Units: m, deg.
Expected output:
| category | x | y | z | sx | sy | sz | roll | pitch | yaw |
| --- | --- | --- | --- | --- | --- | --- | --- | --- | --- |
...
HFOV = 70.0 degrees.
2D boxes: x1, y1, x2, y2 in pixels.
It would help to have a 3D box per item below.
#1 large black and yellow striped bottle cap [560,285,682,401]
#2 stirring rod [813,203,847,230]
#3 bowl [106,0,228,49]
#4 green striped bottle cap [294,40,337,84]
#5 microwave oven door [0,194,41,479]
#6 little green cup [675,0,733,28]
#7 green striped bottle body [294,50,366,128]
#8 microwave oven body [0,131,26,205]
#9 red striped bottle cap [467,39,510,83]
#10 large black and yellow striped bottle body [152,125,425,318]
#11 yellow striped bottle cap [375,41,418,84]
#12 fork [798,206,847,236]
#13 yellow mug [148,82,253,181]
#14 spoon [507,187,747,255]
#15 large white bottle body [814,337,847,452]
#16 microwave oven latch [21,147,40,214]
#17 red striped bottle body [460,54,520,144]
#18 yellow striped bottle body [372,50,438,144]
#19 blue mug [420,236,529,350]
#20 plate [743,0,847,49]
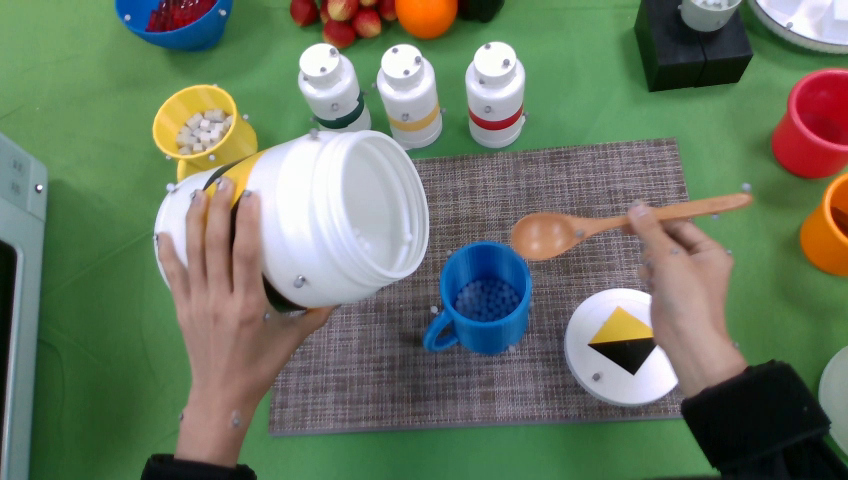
| category | x | y | z | sx | sy | sz | roll | pitch | yaw |
| --- | --- | --- | --- | --- | --- | --- | --- | --- | --- |
| large black and yellow striped bottle cap | 0.193 | 0.099 | 0.596 | 0.115 | 0.019 | 0.114 | -2 | 66 | 6 |
| stirring rod | 0.406 | 0.000 | 0.550 | 0.014 | 0.006 | 0.175 | -1 | 24 | 3 |
| bowl | -0.318 | -0.305 | 0.791 | 0.151 | 0.077 | 0.150 | -2 | 68 | 6 |
| green striped bottle cap | -0.115 | -0.188 | 0.640 | 0.044 | 0.020 | 0.044 | -2 | 68 | 4 |
| microwave oven door | -0.446 | 0.091 | 0.538 | 0.039 | 0.246 | 0.353 | -13 | 67 | 2 |
| little green cup | 0.309 | -0.267 | 0.667 | 0.061 | 0.039 | 0.061 | -2 | 66 | 5 |
| green striped bottle body | -0.107 | -0.168 | 0.687 | 0.063 | 0.120 | 0.062 | -2 | 67 | 5 |
| microwave oven body | -0.596 | 0.087 | 0.563 | 0.326 | 0.262 | 0.438 | -13 | 68 | 1 |
| red striped bottle cap | 0.066 | -0.182 | 0.615 | 0.044 | 0.018 | 0.044 | -1 | 66 | 2 |
| large black and yellow striped bottle body | -0.103 | -0.013 | 0.475 | 0.183 | 0.132 | 0.130 | -12 | 64 | 31 |
| yellow striped bottle cap | -0.028 | -0.184 | 0.627 | 0.044 | 0.019 | 0.044 | -1 | 65 | 2 |
| fork | 0.435 | -0.001 | 0.539 | 0.028 | 0.019 | 0.205 | -34 | 24 | -13 |
| yellow mug | -0.266 | -0.113 | 0.713 | 0.100 | 0.064 | 0.130 | 5 | 69 | 9 |
| spoon | 0.166 | -0.020 | 0.502 | 0.193 | 0.022 | 0.041 | -10 | 81 | 14 |
| large white bottle body | 0.415 | 0.115 | 0.475 | 0.130 | 0.186 | 0.129 | -2 | 67 | 6 |
| microwave oven latch | -0.474 | -0.068 | 0.715 | 0.030 | 0.030 | 0.078 | -12 | 68 | 1 |
| red striped bottle body | 0.072 | -0.162 | 0.664 | 0.063 | 0.120 | 0.062 | -2 | 67 | 6 |
| yellow striped bottle body | -0.021 | -0.164 | 0.676 | 0.063 | 0.121 | 0.062 | -3 | 67 | 6 |
| blue mug | 0.044 | 0.063 | 0.579 | 0.116 | 0.107 | 0.081 | -36 | 67 | -8 |
| plate | 0.476 | -0.307 | 0.718 | 0.209 | 0.038 | 0.207 | -2 | 68 | 6 |
